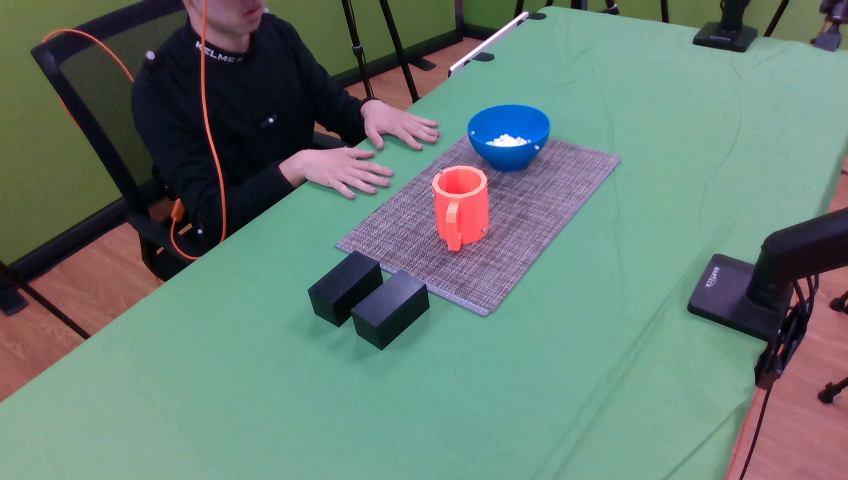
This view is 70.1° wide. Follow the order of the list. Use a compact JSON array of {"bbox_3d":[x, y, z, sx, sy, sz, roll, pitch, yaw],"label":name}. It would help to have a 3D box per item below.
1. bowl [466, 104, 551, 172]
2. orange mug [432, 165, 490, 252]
[{"bbox_3d":[0.155,-0.177,1.105,0.151,0.077,0.150,-4,40,4],"label":"bowl"},{"bbox_3d":[0.055,-0.045,0.948,0.083,0.101,0.126,4,38,14],"label":"orange mug"}]
